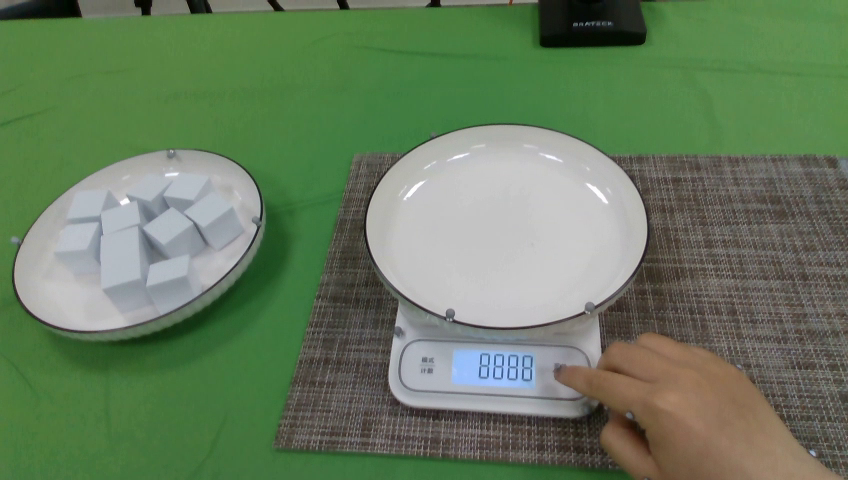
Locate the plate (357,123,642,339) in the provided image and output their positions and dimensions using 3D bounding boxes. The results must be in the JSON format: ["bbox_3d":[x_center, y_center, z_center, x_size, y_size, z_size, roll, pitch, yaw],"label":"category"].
[{"bbox_3d":[0.055,-0.009,0.460,0.207,0.039,0.205,-2,49,3],"label":"plate"}]

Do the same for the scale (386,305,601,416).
[{"bbox_3d":[0.055,0.034,0.466,0.148,0.032,0.199,2,50,8],"label":"scale"}]

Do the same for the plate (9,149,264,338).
[{"bbox_3d":[-0.240,0.001,0.525,0.209,0.038,0.207,-2,48,3],"label":"plate"}]
